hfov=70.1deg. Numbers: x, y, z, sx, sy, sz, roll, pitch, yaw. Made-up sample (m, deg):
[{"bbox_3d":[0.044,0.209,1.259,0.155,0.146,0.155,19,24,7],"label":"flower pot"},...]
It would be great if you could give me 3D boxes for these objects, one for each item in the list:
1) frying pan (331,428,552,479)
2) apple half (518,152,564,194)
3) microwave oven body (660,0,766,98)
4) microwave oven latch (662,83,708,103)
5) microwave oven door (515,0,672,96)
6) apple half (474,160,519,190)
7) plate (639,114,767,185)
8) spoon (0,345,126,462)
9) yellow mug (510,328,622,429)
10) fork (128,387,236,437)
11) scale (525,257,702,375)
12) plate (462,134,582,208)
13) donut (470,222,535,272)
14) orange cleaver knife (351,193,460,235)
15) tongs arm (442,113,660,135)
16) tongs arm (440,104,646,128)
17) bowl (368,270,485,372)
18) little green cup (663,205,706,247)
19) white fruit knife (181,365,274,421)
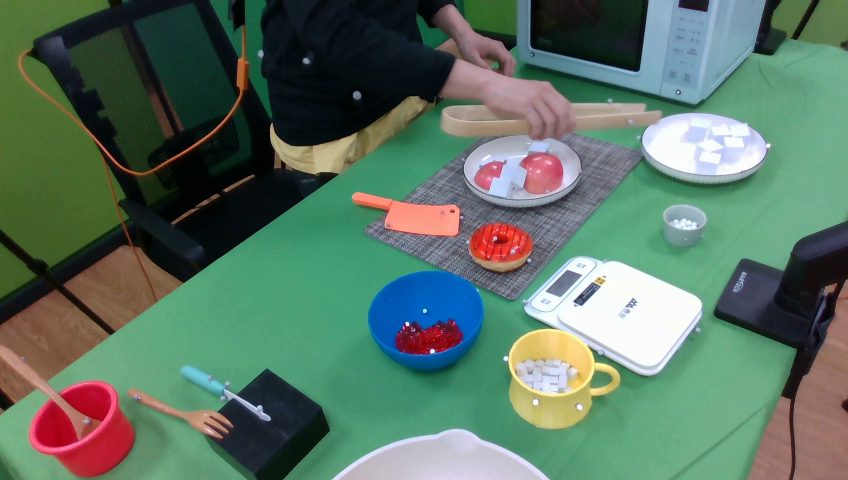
[{"bbox_3d":[-0.089,0.305,0.564,0.487,0.103,0.306,10,41,7],"label":"frying pan"},{"bbox_3d":[0.204,-0.124,1.048,0.075,0.053,0.080,-7,40,-3],"label":"apple half"},{"bbox_3d":[0.472,-0.513,1.317,0.438,0.261,0.327,26,51,34],"label":"microwave oven body"},{"bbox_3d":[0.518,-0.296,1.204,0.078,0.029,0.030,28,52,35],"label":"microwave oven latch"},{"bbox_3d":[0.344,-0.455,1.259,0.353,0.245,0.039,26,51,33],"label":"microwave oven door"},{"bbox_3d":[0.130,-0.120,1.068,0.081,0.033,0.081,-4,35,3],"label":"apple half"},{"bbox_3d":[0.489,-0.157,1.074,0.207,0.039,0.206,-4,40,4],"label":"plate"},{"bbox_3d":[-0.434,0.192,0.720,0.194,0.021,0.042,47,53,-6],"label":"spoon"},{"bbox_3d":[0.168,0.164,0.721,0.130,0.064,0.099,0,40,8],"label":"yellow mug"},{"bbox_3d":[-0.305,0.207,0.744,0.206,0.019,0.028,3,41,36],"label":"fork"},{"bbox_3d":[0.254,0.091,0.821,0.199,0.032,0.149,28,51,35],"label":"scale"},{"bbox_3d":[0.173,-0.119,1.070,0.209,0.038,0.208,-4,40,4],"label":"plate"},{"bbox_3d":[0.119,0.009,0.923,0.099,0.048,0.098,-4,38,4],"label":"donut"},{"bbox_3d":[-0.036,-0.044,1.029,0.210,0.012,0.077,10,48,18],"label":"orange cleaver knife"},{"bbox_3d":[0.214,-0.185,0.959,0.390,0.028,0.028,-5,42,-20],"label":"tongs arm"},{"bbox_3d":[0.205,-0.201,0.978,0.387,0.026,0.050,-2,38,-17],"label":"tongs arm"},{"bbox_3d":[0.007,0.118,0.791,0.151,0.077,0.150,-4,40,4],"label":"bowl"},{"bbox_3d":[0.396,-0.020,0.926,0.061,0.039,0.061,-4,40,4],"label":"little green cup"},{"bbox_3d":[-0.245,0.187,0.747,0.205,0.027,0.016,9,41,40],"label":"white fruit knife"}]
